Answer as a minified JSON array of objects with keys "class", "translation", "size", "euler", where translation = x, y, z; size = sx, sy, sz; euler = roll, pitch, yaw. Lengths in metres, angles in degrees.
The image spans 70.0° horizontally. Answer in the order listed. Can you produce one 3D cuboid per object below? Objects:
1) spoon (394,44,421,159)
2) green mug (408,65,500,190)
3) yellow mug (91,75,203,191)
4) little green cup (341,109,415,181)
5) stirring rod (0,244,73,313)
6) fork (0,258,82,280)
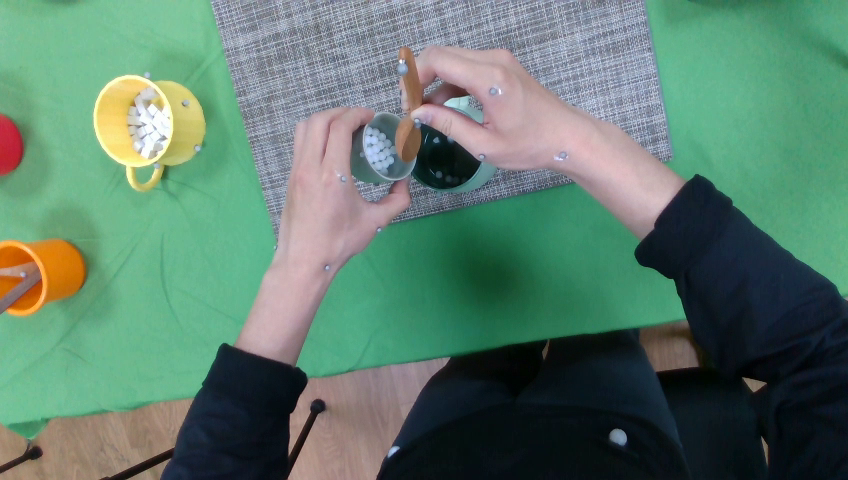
[{"class":"spoon","translation":[-0.011,-0.101,0.454],"size":[0.021,0.194,0.041],"euler":[19,82,-1]},{"class":"green mug","translation":[0.028,-0.111,0.607],"size":[0.092,0.105,0.125],"euler":[5,100,11]},{"class":"yellow mug","translation":[-0.319,-0.120,0.698],"size":[0.100,0.064,0.131],"euler":[13,103,8]},{"class":"little green cup","translation":[-0.043,-0.082,0.543],"size":[0.038,0.062,0.061],"euler":[-12,98,50]},{"class":"stirring rod","translation":[-0.498,0.069,0.729],"size":[0.014,0.006,0.175],"euler":[38,62,2]},{"class":"fork","translation":[-0.529,0.038,0.724],"size":[0.208,0.018,0.028],"euler":[-2,99,-32]}]
